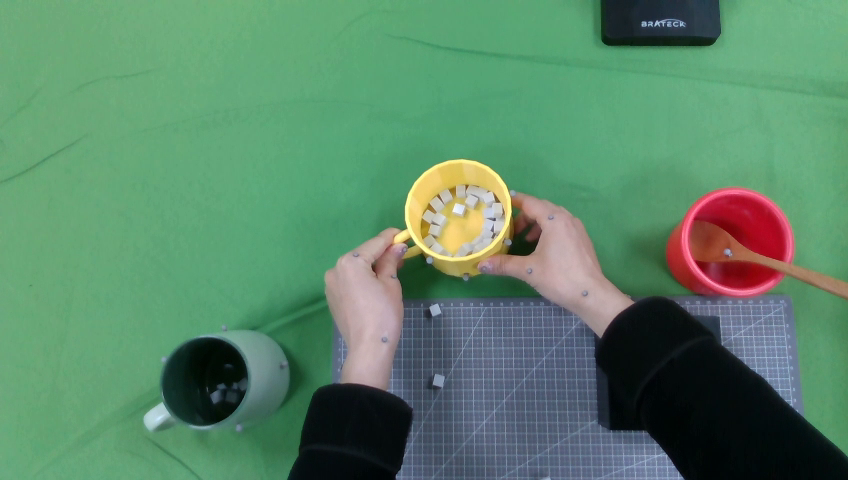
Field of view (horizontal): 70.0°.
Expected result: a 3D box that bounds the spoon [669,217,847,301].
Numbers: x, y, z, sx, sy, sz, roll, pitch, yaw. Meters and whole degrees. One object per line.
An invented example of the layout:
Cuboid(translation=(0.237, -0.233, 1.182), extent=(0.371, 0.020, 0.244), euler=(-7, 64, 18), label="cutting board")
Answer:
Cuboid(translation=(0.301, 0.021, 0.529), extent=(0.041, 0.022, 0.192), euler=(-53, 38, -4), label="spoon")

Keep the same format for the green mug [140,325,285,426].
Cuboid(translation=(-0.198, 0.133, 0.558), extent=(0.125, 0.105, 0.092), euler=(-32, 80, -3), label="green mug")

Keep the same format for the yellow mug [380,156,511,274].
Cuboid(translation=(0.018, -0.016, 0.583), extent=(0.131, 0.064, 0.099), euler=(-26, 72, 3), label="yellow mug")
